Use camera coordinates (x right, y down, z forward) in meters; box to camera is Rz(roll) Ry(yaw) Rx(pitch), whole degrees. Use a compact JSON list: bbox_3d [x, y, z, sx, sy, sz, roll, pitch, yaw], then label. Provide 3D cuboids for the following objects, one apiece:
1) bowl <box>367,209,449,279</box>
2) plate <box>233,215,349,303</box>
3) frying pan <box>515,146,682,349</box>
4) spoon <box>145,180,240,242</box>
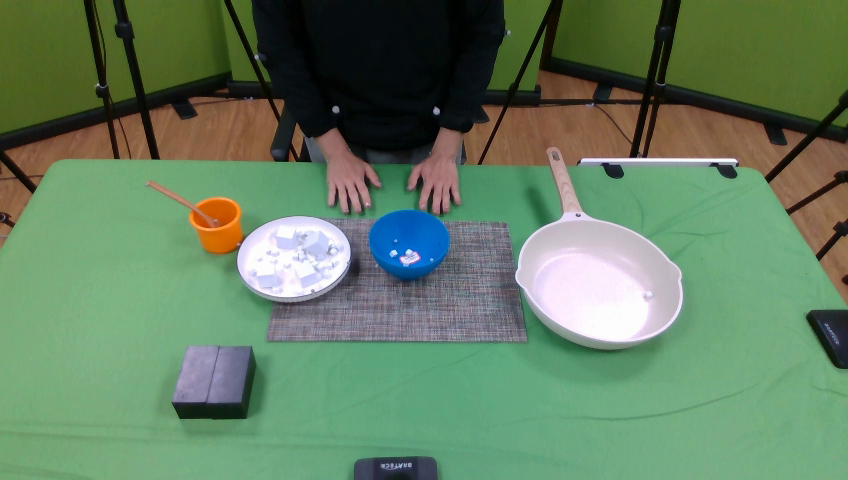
[{"bbox_3d":[-0.031,0.020,1.132,0.151,0.077,0.150,2,46,-2],"label":"bowl"},{"bbox_3d":[-0.244,0.039,1.125,0.208,0.039,0.206,2,46,-2],"label":"plate"},{"bbox_3d":[0.302,-0.004,1.168,0.307,0.103,0.484,-1,55,-7],"label":"frying pan"},{"bbox_3d":[-0.428,-0.055,1.130,0.021,0.195,0.041,-30,35,31],"label":"spoon"}]
